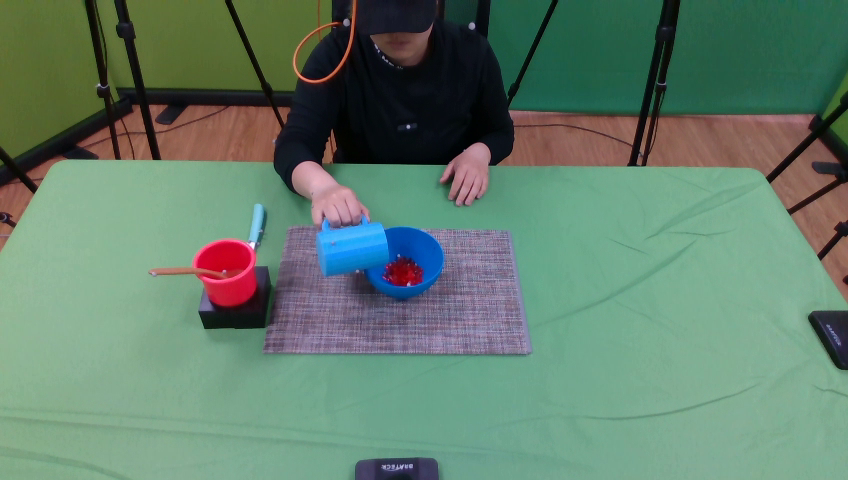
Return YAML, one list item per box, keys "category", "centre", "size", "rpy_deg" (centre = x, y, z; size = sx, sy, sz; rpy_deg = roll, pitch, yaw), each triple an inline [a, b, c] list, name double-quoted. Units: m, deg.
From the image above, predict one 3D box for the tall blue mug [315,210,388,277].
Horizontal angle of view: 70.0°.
- category: "tall blue mug"
  centre: [-0.126, -0.001, 1.023]
  size: [0.108, 0.077, 0.107]
  rpy_deg: [-11, 90, -17]

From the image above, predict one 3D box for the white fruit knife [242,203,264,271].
- category: "white fruit knife"
  centre: [-0.334, 0.001, 1.178]
  size: [0.027, 0.016, 0.206]
  rpy_deg: [-18, 46, 16]

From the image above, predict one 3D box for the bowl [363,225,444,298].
- category: "bowl"
  centre: [-0.040, 0.053, 1.099]
  size: [0.151, 0.077, 0.150]
  rpy_deg: [2, 46, -2]

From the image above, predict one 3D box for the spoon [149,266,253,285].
- category: "spoon"
  centre: [-0.351, 0.052, 0.968]
  size: [0.041, 0.021, 0.194]
  rpy_deg: [41, 12, 28]
